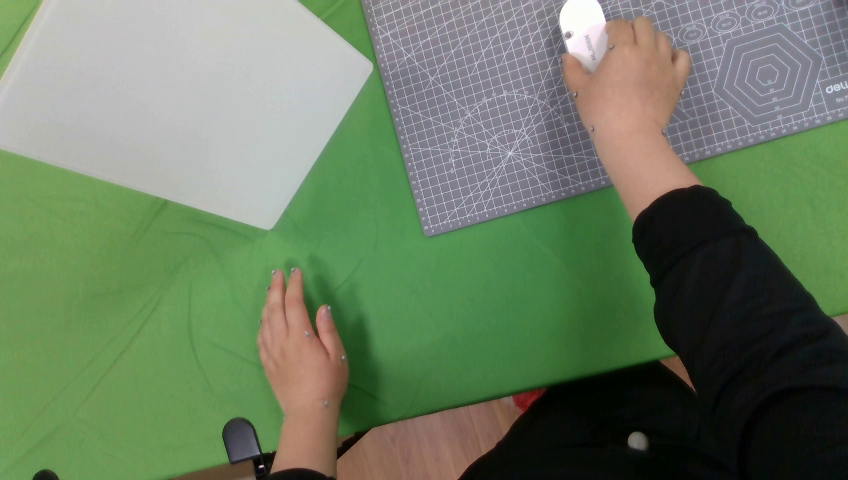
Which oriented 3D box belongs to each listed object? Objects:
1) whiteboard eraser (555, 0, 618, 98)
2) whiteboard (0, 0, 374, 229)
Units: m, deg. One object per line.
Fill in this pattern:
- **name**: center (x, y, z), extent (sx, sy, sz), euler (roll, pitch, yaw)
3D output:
- **whiteboard eraser**: center (0.158, -0.189, 0.588), extent (0.041, 0.019, 0.101), euler (-19, 98, 10)
- **whiteboard**: center (-0.230, -0.166, 0.565), extent (0.142, 0.308, 0.217), euler (39, 99, 29)
